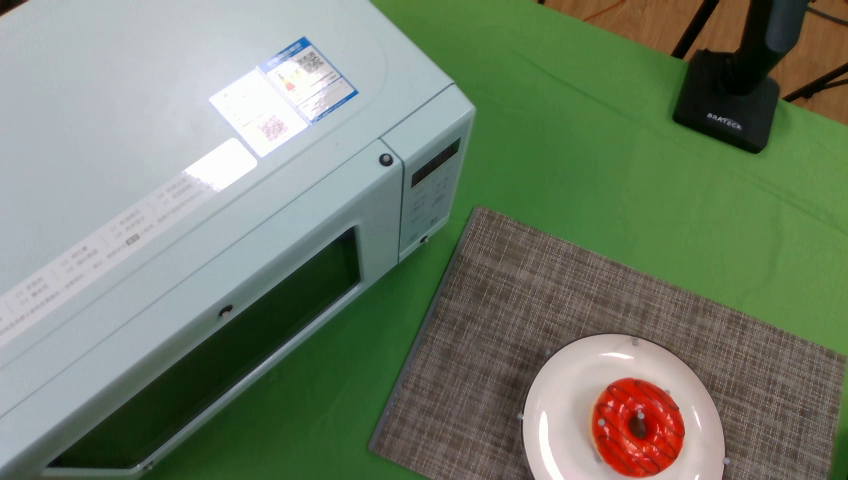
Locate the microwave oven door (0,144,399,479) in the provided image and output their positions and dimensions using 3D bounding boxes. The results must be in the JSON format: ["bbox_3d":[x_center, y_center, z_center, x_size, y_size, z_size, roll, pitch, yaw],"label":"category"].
[{"bbox_3d":[-0.165,0.081,0.509,0.355,0.245,0.039,-40,76,-17],"label":"microwave oven door"}]

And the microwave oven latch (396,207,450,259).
[{"bbox_3d":[-0.008,-0.015,0.666,0.079,0.029,0.030,-39,78,-16],"label":"microwave oven latch"}]

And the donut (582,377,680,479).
[{"bbox_3d":[0.208,0.189,0.611,0.099,0.048,0.098,2,72,-6],"label":"donut"}]

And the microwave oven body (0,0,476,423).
[{"bbox_3d":[-0.232,-0.046,0.555,0.441,0.261,0.324,-40,78,-16],"label":"microwave oven body"}]

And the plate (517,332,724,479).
[{"bbox_3d":[0.196,0.199,0.618,0.209,0.038,0.207,2,69,-4],"label":"plate"}]
